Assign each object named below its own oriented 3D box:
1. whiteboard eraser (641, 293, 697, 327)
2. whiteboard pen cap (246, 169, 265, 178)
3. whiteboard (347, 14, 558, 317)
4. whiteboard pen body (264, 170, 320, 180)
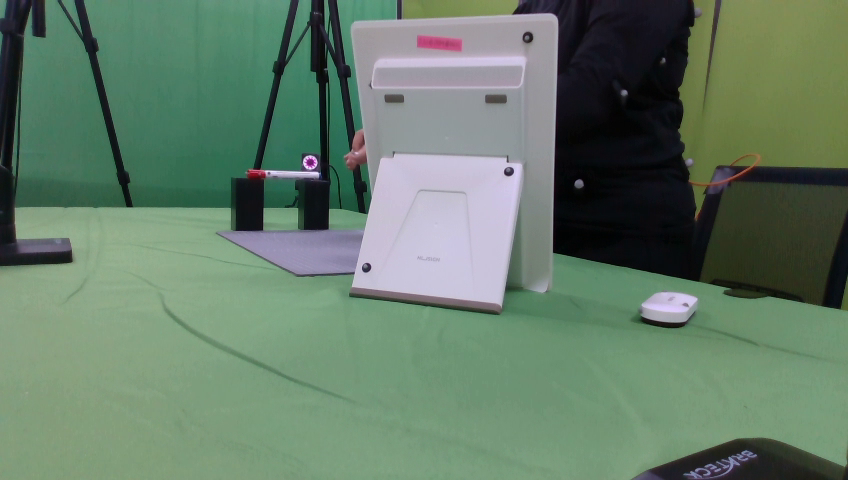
[{"bbox_3d":[0.240,0.066,0.590,0.041,0.019,0.102,6,7,31],"label":"whiteboard eraser"},{"bbox_3d":[-0.318,-0.125,1.143,0.032,0.017,0.017,-1,8,-35],"label":"whiteboard pen cap"},{"bbox_3d":[0.012,-0.056,0.609,0.216,0.305,0.144,5,27,20],"label":"whiteboard"},{"bbox_3d":[-0.268,-0.127,1.179,0.141,0.017,0.017,-2,8,-36],"label":"whiteboard pen body"}]
